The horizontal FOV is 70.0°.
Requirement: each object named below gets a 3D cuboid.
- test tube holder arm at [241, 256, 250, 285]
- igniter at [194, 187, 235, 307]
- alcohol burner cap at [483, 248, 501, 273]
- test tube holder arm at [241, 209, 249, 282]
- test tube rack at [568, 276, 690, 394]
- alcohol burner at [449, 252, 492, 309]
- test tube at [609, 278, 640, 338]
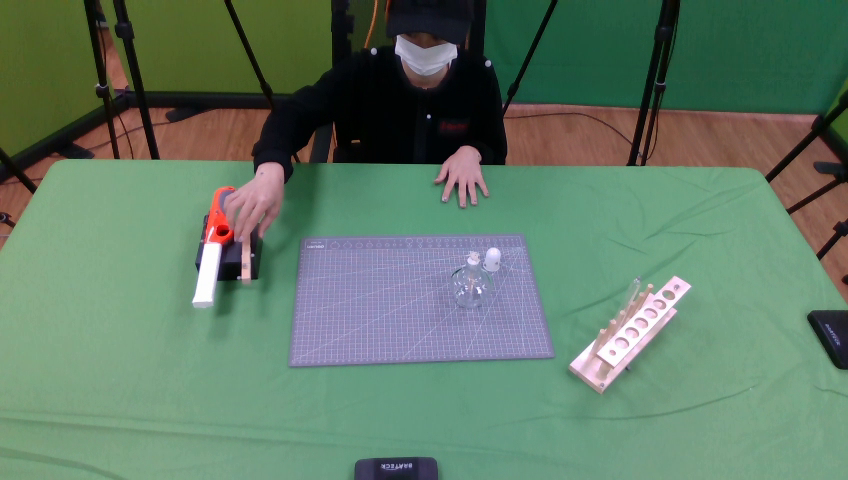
[{"bbox_3d":[-0.316,0.043,1.071,0.015,0.010,0.087,-2,49,-14],"label":"test tube holder arm"},{"bbox_3d":[-0.378,0.003,1.096,0.057,0.025,0.274,-1,49,-6],"label":"igniter"},{"bbox_3d":[0.130,0.037,1.156,0.034,0.048,0.033,1,46,-1],"label":"alcohol burner cap"},{"bbox_3d":[-0.324,0.006,1.096,0.015,0.013,0.177,-2,48,-14],"label":"test tube holder arm"},{"bbox_3d":[0.354,0.149,1.039,0.242,0.085,0.066,-34,56,-31],"label":"test tube rack"},{"bbox_3d":[0.084,0.066,1.074,0.078,0.120,0.077,1,44,-1],"label":"alcohol burner"},{"bbox_3d":[0.331,0.115,1.007,0.017,0.151,0.017,2,45,-2],"label":"test tube"}]
